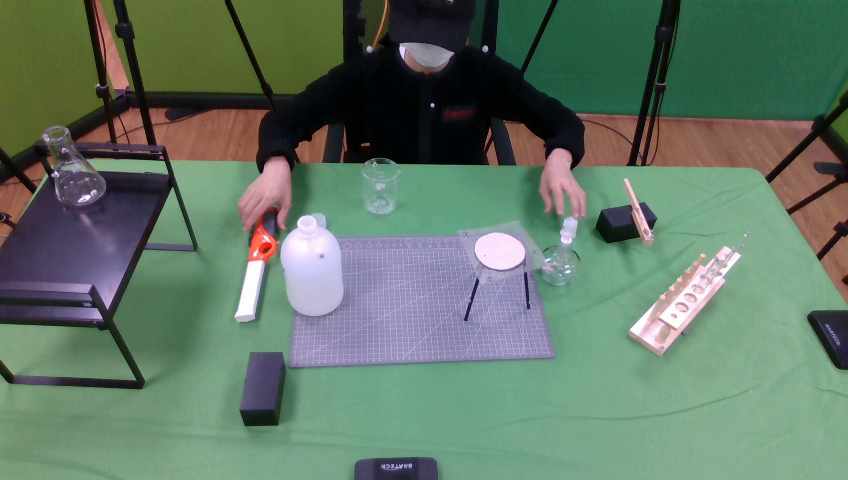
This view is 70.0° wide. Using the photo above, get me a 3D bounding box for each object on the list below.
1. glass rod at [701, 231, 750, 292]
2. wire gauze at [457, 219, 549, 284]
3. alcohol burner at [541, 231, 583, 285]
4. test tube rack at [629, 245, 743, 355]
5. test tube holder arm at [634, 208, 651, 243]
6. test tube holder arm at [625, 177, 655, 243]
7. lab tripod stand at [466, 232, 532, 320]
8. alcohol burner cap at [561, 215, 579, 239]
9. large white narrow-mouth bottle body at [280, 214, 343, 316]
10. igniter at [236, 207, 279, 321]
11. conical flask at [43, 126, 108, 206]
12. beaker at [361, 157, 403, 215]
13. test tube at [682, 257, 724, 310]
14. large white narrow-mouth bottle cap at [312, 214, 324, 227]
[{"bbox_3d":[0.519,0.045,1.050,0.008,0.201,0.008,0,55,0],"label":"glass rod"},{"bbox_3d":[0.131,0.014,1.016,0.121,0.011,0.124,-12,47,-14],"label":"wire gauze"},{"bbox_3d":[0.258,0.028,1.123,0.078,0.120,0.077,1,47,-1],"label":"alcohol burner"},{"bbox_3d":[0.474,0.095,1.091,0.242,0.085,0.066,-34,56,-31],"label":"test tube rack"},{"bbox_3d":[0.428,-0.030,1.189,0.010,0.015,0.087,1,47,-2],"label":"test tube holder arm"},{"bbox_3d":[0.433,-0.063,1.220,0.013,0.015,0.177,1,47,-3],"label":"test tube holder arm"},{"bbox_3d":[0.125,0.059,1.065,0.148,0.132,0.147,1,45,0],"label":"lab tripod stand"},{"bbox_3d":[0.299,-0.030,1.231,0.034,0.048,0.033,0,46,0],"label":"alcohol burner cap"},{"bbox_3d":[-0.190,0.035,1.025,0.102,0.195,0.101,2,46,-2],"label":"large white narrow-mouth bottle body"},{"bbox_3d":[-0.309,0.036,1.137,0.057,0.025,0.274,-6,46,5],"label":"igniter"},{"bbox_3d":[-0.555,-0.119,0.953,0.075,0.122,0.075,2,46,-2],"label":"conical flask"},{"bbox_3d":[-0.086,-0.108,1.241,0.084,0.101,0.073,-8,47,-13],"label":"beaker"},{"bbox_3d":[0.475,0.080,1.037,0.017,0.151,0.017,2,51,-2],"label":"test tube"},{"bbox_3d":[-0.219,-0.033,1.214,0.038,0.024,0.037,2,46,-2],"label":"large white narrow-mouth bottle cap"}]
